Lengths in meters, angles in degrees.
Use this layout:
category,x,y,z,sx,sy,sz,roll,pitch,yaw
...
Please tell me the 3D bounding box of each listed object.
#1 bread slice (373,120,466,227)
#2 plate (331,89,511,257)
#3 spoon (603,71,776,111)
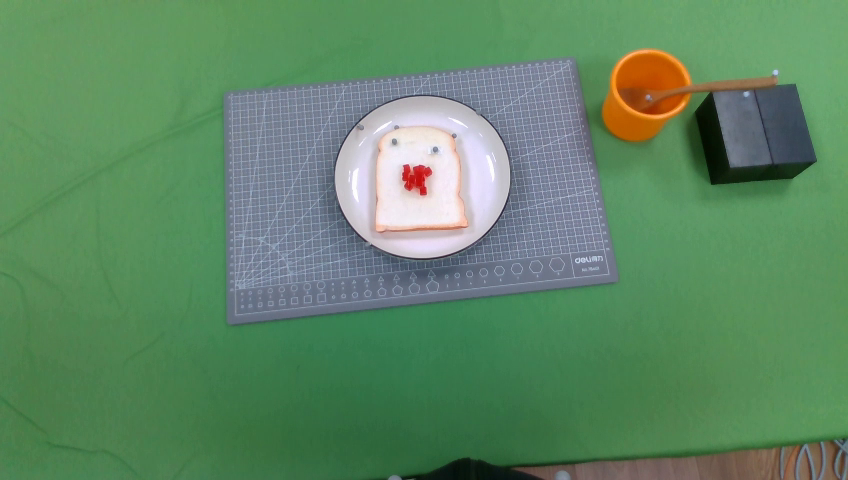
category,x,y,z,sx,sy,sz,roll,pitch,yaw
bread slice,-0.011,-0.078,0.716,0.107,0.018,0.133,-6,74,-2
plate,-0.003,-0.078,0.715,0.209,0.038,0.208,0,74,1
spoon,0.291,-0.172,0.684,0.022,0.192,0.041,35,71,-35
